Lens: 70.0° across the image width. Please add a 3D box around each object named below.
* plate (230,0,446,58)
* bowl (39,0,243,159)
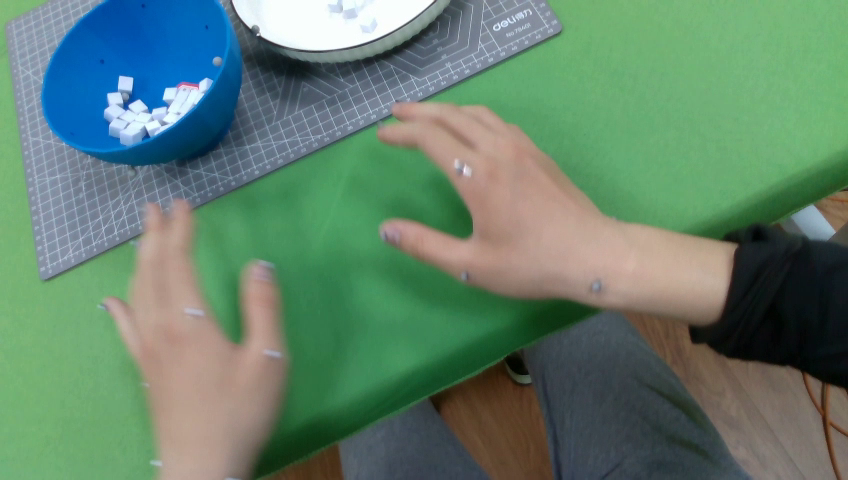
[{"bbox_3d":[-0.061,-0.235,0.503,0.209,0.038,0.207,-4,69,11],"label":"plate"},{"bbox_3d":[-0.199,-0.119,0.466,0.151,0.077,0.150,-4,68,11],"label":"bowl"}]
